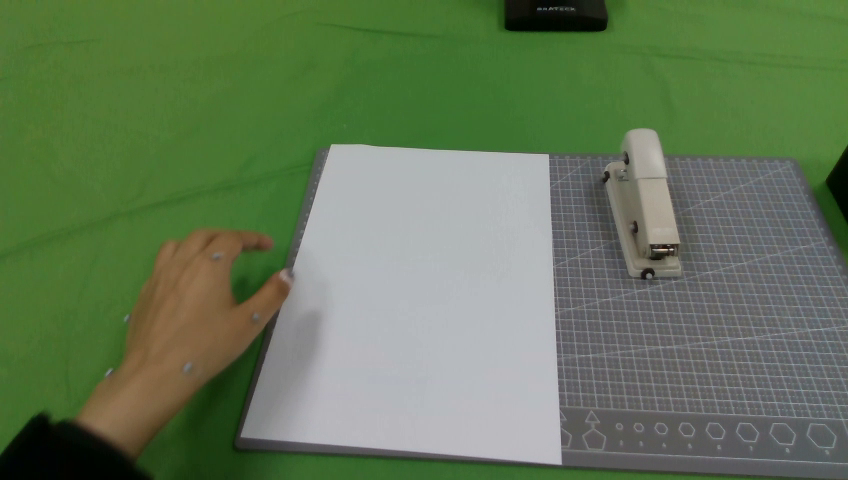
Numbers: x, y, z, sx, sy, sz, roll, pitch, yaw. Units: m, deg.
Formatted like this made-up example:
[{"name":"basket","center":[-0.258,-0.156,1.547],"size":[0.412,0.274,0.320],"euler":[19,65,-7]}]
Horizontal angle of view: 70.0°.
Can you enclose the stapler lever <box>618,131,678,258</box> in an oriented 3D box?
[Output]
[{"name":"stapler lever","center":[0.181,-0.040,0.491],"size":[0.027,0.040,0.117],"euler":[-2,51,4]}]

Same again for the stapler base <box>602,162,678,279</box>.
[{"name":"stapler base","center":[0.181,-0.025,0.511],"size":[0.041,0.024,0.129],"euler":[-2,51,3]}]
